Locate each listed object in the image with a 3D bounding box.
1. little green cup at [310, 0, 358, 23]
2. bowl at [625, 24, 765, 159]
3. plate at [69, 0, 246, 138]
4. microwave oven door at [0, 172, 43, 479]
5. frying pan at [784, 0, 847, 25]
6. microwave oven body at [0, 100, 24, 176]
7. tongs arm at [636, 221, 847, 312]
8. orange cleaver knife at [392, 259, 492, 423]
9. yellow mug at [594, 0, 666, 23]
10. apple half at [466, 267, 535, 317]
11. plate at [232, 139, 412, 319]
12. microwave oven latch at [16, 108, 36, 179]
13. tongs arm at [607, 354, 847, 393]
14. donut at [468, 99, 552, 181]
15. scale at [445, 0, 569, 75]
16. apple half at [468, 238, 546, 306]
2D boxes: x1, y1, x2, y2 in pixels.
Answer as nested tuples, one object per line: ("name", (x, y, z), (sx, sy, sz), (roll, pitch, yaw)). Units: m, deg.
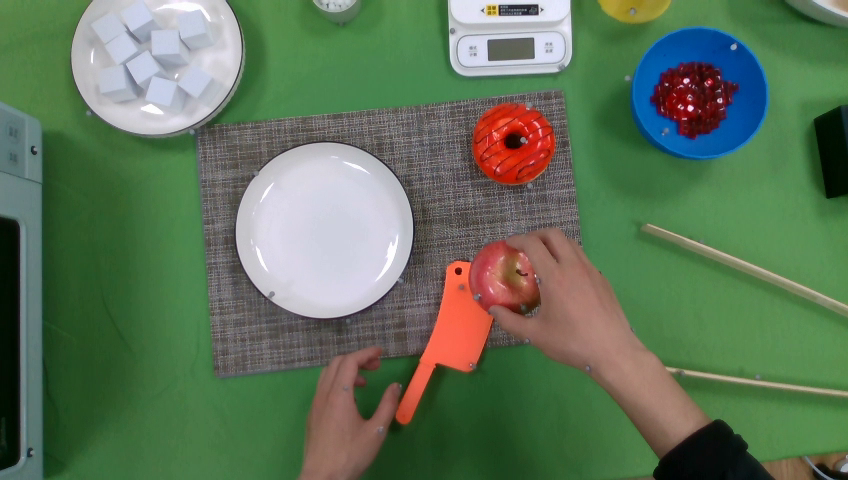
("little green cup", (-0.109, -0.298, 0.739), (0.061, 0.039, 0.061), (0, 84, 1))
("bowl", (0.300, -0.161, 0.702), (0.151, 0.077, 0.151), (0, 85, 1))
("plate", (-0.317, -0.222, 0.734), (0.208, 0.039, 0.207), (0, 85, 1))
("microwave oven door", (-0.464, 0.096, 0.587), (0.039, 0.244, 0.355), (-4, 84, 1))
("frying pan", (0.575, -0.304, 0.698), (0.307, 0.103, 0.485), (-33, 77, -1))
("microwave oven body", (-0.612, 0.064, 0.597), (0.326, 0.260, 0.440), (-4, 85, 0))
("tongs arm", (0.428, 0.060, 0.703), (0.387, 0.028, 0.028), (24, 79, 3))
("orange cleaver knife", (0.028, 0.119, 0.704), (0.077, 0.012, 0.211), (24, 82, -5))
("yellow mug", (0.245, -0.334, 0.723), (0.100, 0.064, 0.130), (-38, 85, -3))
("apple half", (0.071, 0.059, 0.615), (0.081, 0.081, 0.032), (29, 77, 4))
("plate", (-0.117, -0.013, 0.710), (0.209, 0.038, 0.208), (0, 85, 1))
("microwave oven latch", (-0.473, -0.112, 0.707), (0.030, 0.029, 0.079), (-2, 85, 0))
("tongs arm", (0.406, 0.143, 0.694), (0.385, 0.026, 0.050), (9, 81, 2))
("donut", (0.100, -0.117, 0.713), (0.099, 0.048, 0.099), (0, 85, 3))
("scale", (0.099, -0.304, 0.740), (0.149, 0.031, 0.200), (-2, 85, 1))
("apple half", (0.090, 0.028, 0.624), (0.081, 0.075, 0.053), (30, 76, 2))
